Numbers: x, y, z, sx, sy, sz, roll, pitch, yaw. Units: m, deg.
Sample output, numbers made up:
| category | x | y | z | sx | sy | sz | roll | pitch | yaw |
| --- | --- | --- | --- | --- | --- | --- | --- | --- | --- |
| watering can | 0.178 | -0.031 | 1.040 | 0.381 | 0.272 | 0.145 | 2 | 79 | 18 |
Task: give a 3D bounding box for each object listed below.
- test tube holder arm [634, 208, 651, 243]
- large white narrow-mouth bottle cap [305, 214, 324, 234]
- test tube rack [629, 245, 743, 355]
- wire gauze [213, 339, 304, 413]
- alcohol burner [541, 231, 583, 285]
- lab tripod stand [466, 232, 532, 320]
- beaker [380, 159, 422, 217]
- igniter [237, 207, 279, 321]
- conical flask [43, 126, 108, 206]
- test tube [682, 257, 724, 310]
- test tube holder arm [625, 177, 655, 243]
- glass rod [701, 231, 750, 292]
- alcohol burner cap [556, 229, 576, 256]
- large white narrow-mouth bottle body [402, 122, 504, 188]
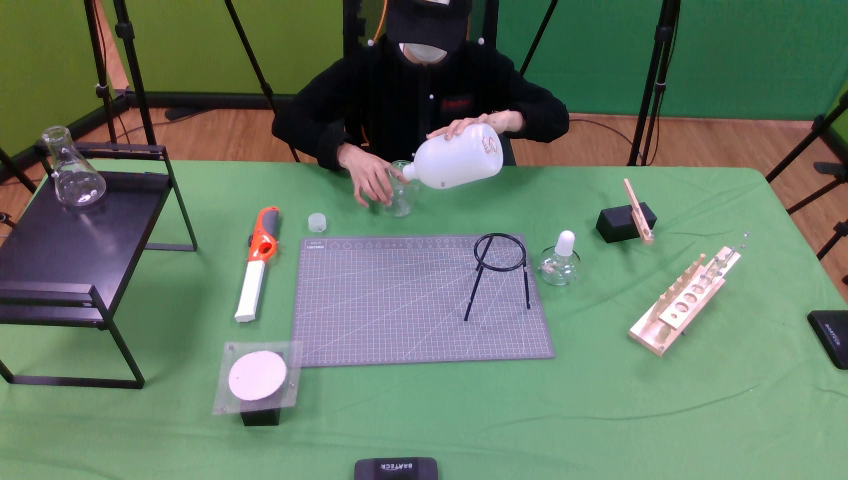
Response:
| category | x | y | z | sx | sy | sz | roll | pitch | yaw |
| --- | --- | --- | --- | --- | --- | --- | --- | --- | --- |
| test tube holder arm | 0.428 | -0.030 | 1.189 | 0.010 | 0.015 | 0.087 | 1 | 47 | -2 |
| large white narrow-mouth bottle cap | -0.219 | -0.033 | 1.214 | 0.038 | 0.024 | 0.037 | 2 | 46 | -2 |
| test tube rack | 0.474 | 0.095 | 1.091 | 0.242 | 0.085 | 0.066 | -34 | 56 | -31 |
| wire gauze | -0.250 | 0.203 | 0.924 | 0.121 | 0.011 | 0.124 | -1 | 46 | -3 |
| alcohol burner | 0.258 | 0.028 | 1.123 | 0.078 | 0.120 | 0.077 | 1 | 48 | -1 |
| lab tripod stand | 0.125 | 0.059 | 1.065 | 0.148 | 0.132 | 0.147 | 1 | 45 | 0 |
| beaker | -0.045 | -0.102 | 1.232 | 0.084 | 0.100 | 0.073 | 3 | 49 | -18 |
| igniter | -0.309 | 0.036 | 1.136 | 0.057 | 0.025 | 0.274 | -7 | 45 | 5 |
| conical flask | -0.555 | -0.119 | 0.953 | 0.075 | 0.122 | 0.075 | 2 | 46 | -2 |
| test tube | 0.475 | 0.080 | 1.037 | 0.017 | 0.151 | 0.017 | 2 | 51 | -2 |
| test tube holder arm | 0.433 | -0.063 | 1.220 | 0.013 | 0.015 | 0.177 | 1 | 47 | -3 |
| glass rod | 0.519 | 0.045 | 1.050 | 0.008 | 0.201 | 0.008 | 0 | 55 | 0 |
| alcohol burner cap | 0.260 | 0.002 | 1.098 | 0.034 | 0.048 | 0.033 | 3 | 40 | -2 |
| large white narrow-mouth bottle body | 0.046 | -0.151 | 1.146 | 0.194 | 0.102 | 0.101 | -13 | 38 | 31 |
